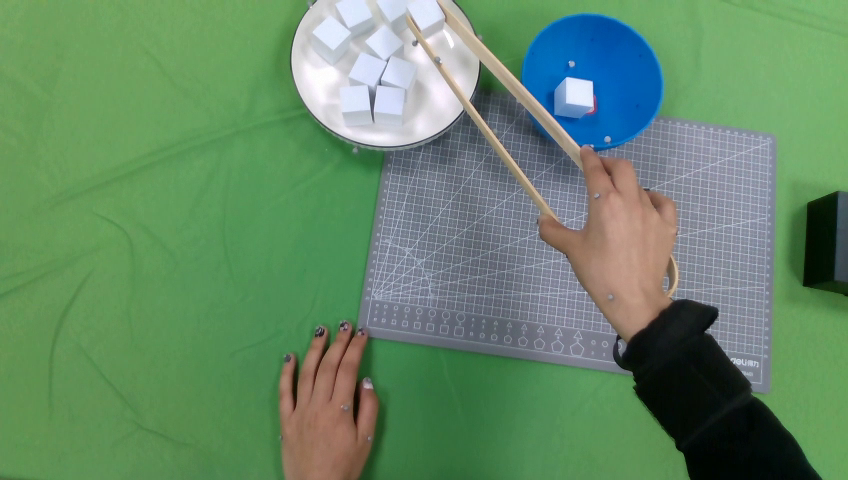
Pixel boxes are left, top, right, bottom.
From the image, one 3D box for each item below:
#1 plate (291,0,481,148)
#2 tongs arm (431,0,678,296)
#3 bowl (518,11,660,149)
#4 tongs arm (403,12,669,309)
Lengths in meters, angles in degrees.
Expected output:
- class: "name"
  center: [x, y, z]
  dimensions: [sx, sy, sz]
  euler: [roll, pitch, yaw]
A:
- class: "plate"
  center: [-0.042, -0.198, 0.678]
  dimensions: [0.208, 0.039, 0.206]
  euler: [1, 78, -3]
- class: "tongs arm"
  center: [0.111, -0.105, 0.576]
  dimensions: [0.028, 0.028, 0.384]
  euler: [-32, 70, -8]
- class: "bowl"
  center: [0.170, -0.161, 0.664]
  dimensions: [0.151, 0.077, 0.150]
  euler: [1, 78, -4]
- class: "tongs arm"
  center: [0.091, -0.092, 0.574]
  dimensions: [0.051, 0.027, 0.381]
  euler: [-30, 69, -3]
